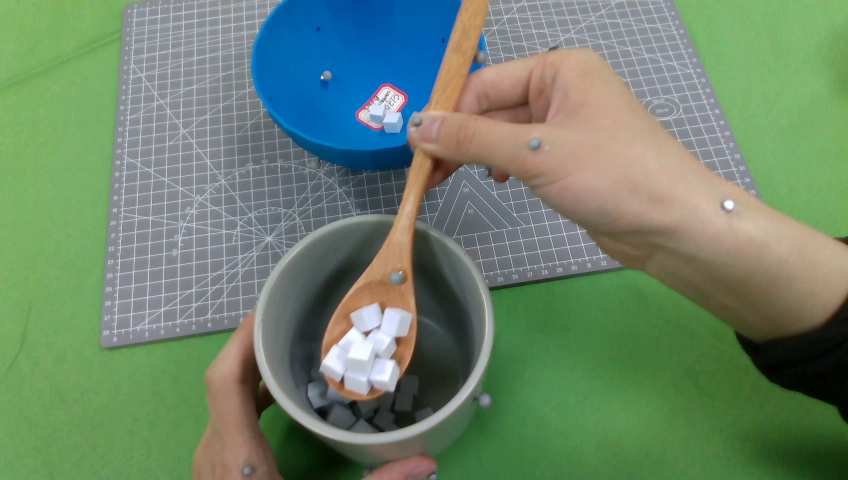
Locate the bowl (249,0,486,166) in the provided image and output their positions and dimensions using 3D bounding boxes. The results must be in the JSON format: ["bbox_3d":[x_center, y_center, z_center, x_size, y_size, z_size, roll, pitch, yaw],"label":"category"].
[{"bbox_3d":[-0.034,-0.105,0.418,0.151,0.077,0.150,0,65,1],"label":"bowl"}]

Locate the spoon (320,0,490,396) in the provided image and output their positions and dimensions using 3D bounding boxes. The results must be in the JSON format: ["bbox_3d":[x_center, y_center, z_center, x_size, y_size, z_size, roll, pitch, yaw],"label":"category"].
[{"bbox_3d":[-0.002,-0.025,0.270,0.041,0.022,0.193,18,91,12],"label":"spoon"}]

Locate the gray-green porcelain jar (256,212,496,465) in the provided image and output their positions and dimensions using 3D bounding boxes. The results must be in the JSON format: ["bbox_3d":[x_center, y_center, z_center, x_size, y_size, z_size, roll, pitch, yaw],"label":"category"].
[{"bbox_3d":[-0.019,0.060,0.318,0.106,0.127,0.105,-1,64,1],"label":"gray-green porcelain jar"}]
